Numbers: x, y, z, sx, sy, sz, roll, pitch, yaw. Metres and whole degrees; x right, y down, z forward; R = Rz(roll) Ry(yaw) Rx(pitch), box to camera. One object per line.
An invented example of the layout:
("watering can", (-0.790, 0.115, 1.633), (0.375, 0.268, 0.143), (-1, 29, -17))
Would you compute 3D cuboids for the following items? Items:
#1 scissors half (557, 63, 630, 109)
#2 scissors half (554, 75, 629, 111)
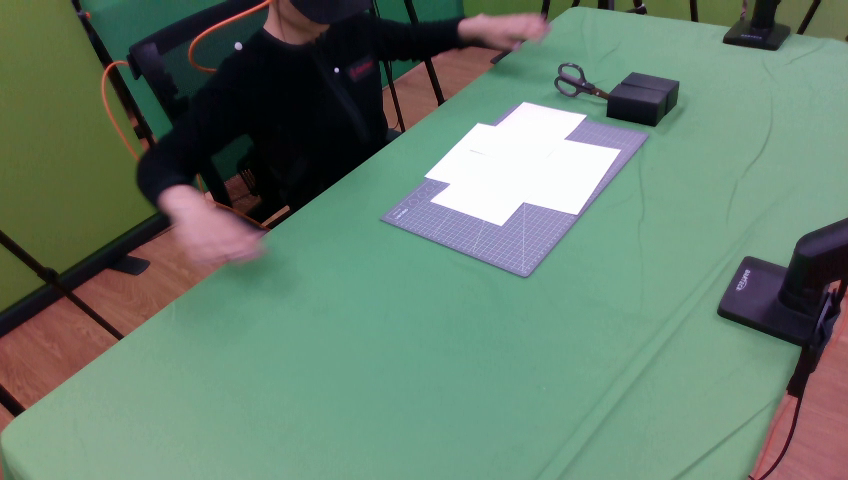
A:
("scissors half", (0.353, -0.319, 1.255), (0.174, 0.040, 0.013), (37, 56, 13))
("scissors half", (0.350, -0.305, 1.270), (0.174, 0.040, 0.013), (28, 48, 24))
